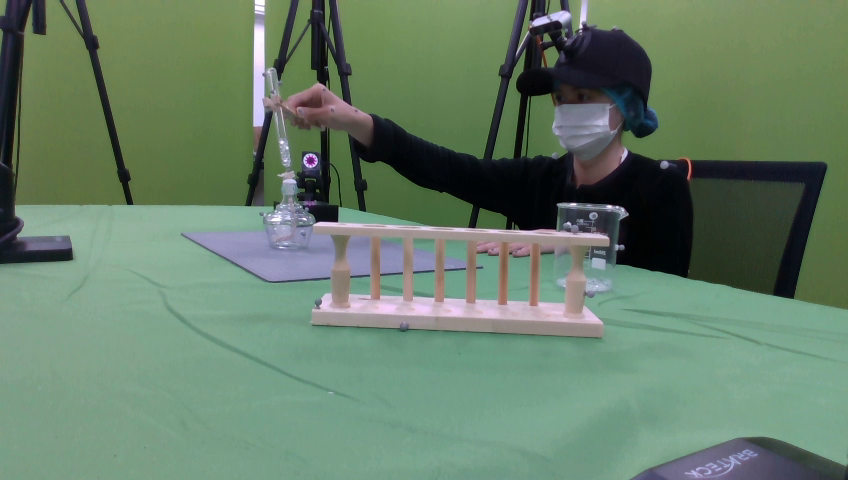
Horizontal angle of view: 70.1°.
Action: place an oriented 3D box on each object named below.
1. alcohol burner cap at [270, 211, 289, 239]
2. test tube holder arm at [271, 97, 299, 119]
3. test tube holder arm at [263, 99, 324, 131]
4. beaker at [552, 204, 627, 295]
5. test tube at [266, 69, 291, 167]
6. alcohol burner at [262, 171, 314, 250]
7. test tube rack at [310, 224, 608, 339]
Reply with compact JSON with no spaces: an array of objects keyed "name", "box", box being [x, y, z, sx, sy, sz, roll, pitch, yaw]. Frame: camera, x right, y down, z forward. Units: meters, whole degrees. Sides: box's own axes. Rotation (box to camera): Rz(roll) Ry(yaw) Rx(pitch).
[{"name":"alcohol burner cap","box":[-0.246,-0.026,1.035,0.034,0.048,0.034,2,8,0]},{"name":"test tube holder arm","box":[-0.212,-0.201,0.928,0.010,0.015,0.088,-7,-3,9]},{"name":"test tube holder arm","box":[-0.206,-0.199,0.973,0.013,0.015,0.179,-6,-3,16]},{"name":"beaker","box":[0.191,0.010,0.708,0.083,0.100,0.074,8,9,33]},{"name":"test tube","box":[-0.217,-0.183,0.905,0.017,0.150,0.017,-10,-3,0]},{"name":"alcohol burner","box":[-0.205,-0.045,0.913,0.078,0.119,0.078,1,9,0]},{"name":"test tube rack","box":[0.028,0.032,0.528,0.242,0.085,0.067,3,7,0]}]
